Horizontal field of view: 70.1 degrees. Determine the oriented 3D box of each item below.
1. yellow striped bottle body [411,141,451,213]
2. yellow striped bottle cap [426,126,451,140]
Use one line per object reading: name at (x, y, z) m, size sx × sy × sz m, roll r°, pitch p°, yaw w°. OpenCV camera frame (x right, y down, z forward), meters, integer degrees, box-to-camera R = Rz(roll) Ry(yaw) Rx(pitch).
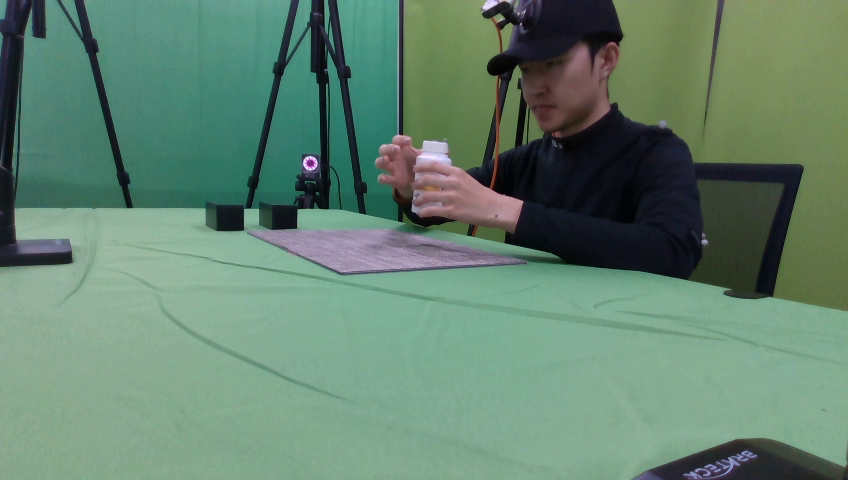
yellow striped bottle body at (0.014, -0.108, 1.041) m, size 0.063 × 0.120 × 0.063 m, roll 5°, pitch 7°, yaw 0°
yellow striped bottle cap at (0.024, -0.184, 1.035) m, size 0.044 × 0.018 × 0.044 m, roll 3°, pitch 1°, yaw 0°
